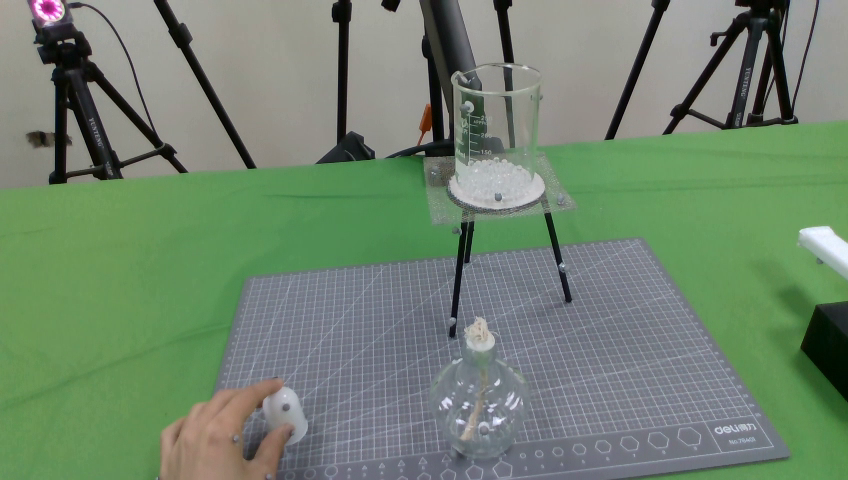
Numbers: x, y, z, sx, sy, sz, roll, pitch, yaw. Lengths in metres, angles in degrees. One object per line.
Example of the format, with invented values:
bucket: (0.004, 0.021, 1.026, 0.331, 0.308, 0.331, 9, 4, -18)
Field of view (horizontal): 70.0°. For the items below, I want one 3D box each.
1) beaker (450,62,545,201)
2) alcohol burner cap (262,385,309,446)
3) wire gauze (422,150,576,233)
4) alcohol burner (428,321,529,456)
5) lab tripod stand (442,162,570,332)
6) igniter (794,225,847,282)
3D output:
beaker: (0.058, -0.092, 0.515, 0.074, 0.101, 0.083, -26, 39, -30)
alcohol burner cap: (-0.112, 0.137, 0.483, 0.034, 0.048, 0.033, -3, 35, 2)
wire gauze: (0.061, -0.050, 0.541, 0.121, 0.011, 0.124, -6, 36, -1)
alcohol burner: (0.040, 0.104, 0.450, 0.078, 0.120, 0.077, -2, 36, 2)
lab tripod stand: (0.070, 0.002, 0.581, 0.148, 0.132, 0.147, -2, 33, 1)
igniter: (0.390, 0.061, 0.475, 0.057, 0.025, 0.274, -7, 31, -3)
